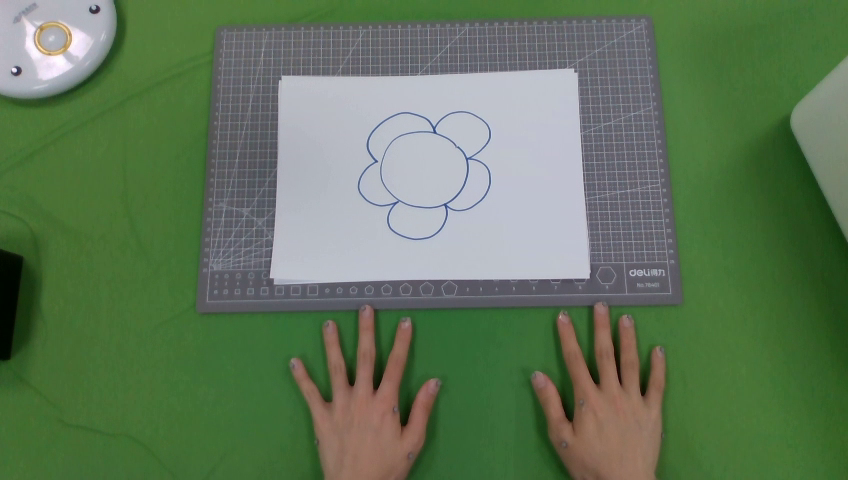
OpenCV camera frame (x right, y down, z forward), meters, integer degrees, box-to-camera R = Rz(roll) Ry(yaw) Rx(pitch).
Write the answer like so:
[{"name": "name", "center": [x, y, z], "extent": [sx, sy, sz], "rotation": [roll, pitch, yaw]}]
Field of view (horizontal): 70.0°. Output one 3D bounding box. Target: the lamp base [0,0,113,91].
[{"name": "lamp base", "center": [-0.414, -0.251, 0.550], "extent": [0.178, 0.181, 0.160], "rotation": [32, 79, 11]}]

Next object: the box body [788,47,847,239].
[{"name": "box body", "center": [0.510, -0.030, 0.492], "extent": [0.254, 0.161, 0.362], "rotation": [-19, 78, -3]}]
